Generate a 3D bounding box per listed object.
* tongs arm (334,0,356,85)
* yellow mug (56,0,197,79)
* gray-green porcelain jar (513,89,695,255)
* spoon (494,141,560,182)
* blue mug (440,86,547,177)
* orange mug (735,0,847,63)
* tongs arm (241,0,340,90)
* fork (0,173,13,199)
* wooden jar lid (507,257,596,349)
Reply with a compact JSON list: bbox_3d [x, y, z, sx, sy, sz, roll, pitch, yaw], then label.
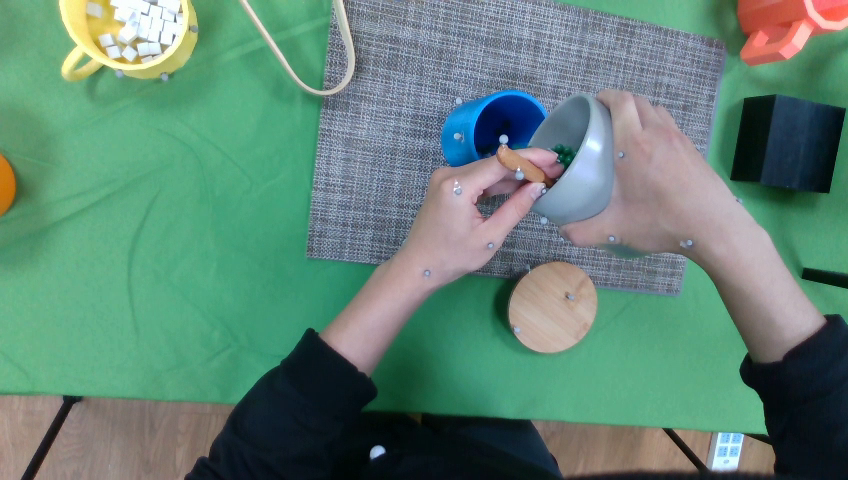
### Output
[{"bbox_3d":[-0.118,-0.336,0.541,0.028,0.027,0.390,-21,110,-18],"label":"tongs arm"},{"bbox_3d":[-0.267,-0.188,0.531,0.131,0.063,0.100,-44,106,-2],"label":"yellow mug"},{"bbox_3d":[0.158,-0.053,0.526,0.127,0.105,0.106,26,92,-18],"label":"gray-green porcelain jar"},{"bbox_3d":[0.114,-0.046,0.490,0.195,0.021,0.042,15,107,-42],"label":"spoon"},{"bbox_3d":[0.081,-0.096,0.607,0.117,0.105,0.082,33,90,-16],"label":"blue mug"},{"bbox_3d":[0.406,-0.257,0.668,0.084,0.100,0.126,30,86,-15],"label":"orange mug"},{"bbox_3d":[-0.192,-0.298,0.526,0.051,0.026,0.387,-33,112,-10],"label":"tongs arm"},{"bbox_3d":[-0.433,-0.063,0.466,0.209,0.018,0.028,16,95,-59],"label":"fork"},{"bbox_3d":[0.145,0.071,0.695,0.109,0.020,0.109,-2,102,-11],"label":"wooden jar lid"}]
